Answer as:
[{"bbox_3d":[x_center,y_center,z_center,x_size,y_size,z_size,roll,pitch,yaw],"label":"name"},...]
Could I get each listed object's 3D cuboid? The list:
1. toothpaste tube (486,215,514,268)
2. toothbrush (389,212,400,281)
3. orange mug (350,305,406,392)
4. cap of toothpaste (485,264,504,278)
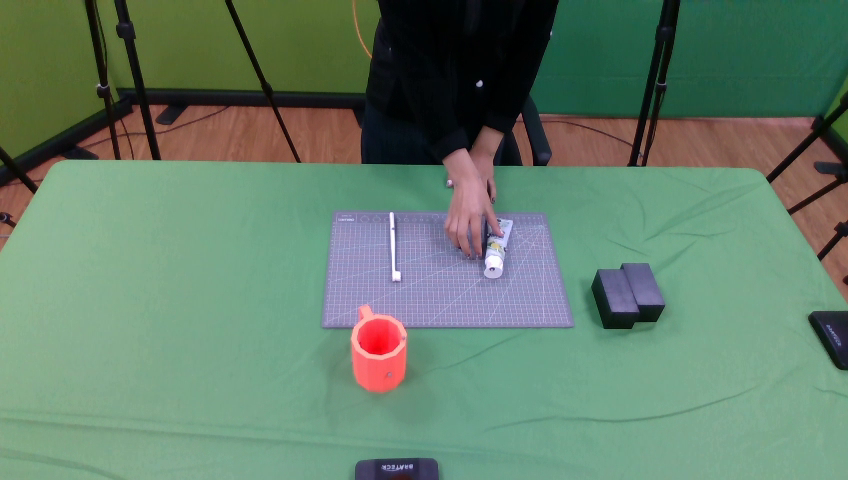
[{"bbox_3d":[0.147,0.005,1.197,0.055,0.034,0.164,14,43,0],"label":"toothpaste tube"},{"bbox_3d":[-0.059,0.010,1.186,0.017,0.014,0.180,1,46,-7],"label":"toothbrush"},{"bbox_3d":[-0.080,0.168,0.978,0.083,0.101,0.125,-16,54,-18],"label":"orange mug"},{"bbox_3d":[0.132,0.057,1.137,0.037,0.037,0.011,1,48,-2],"label":"cap of toothpaste"}]
